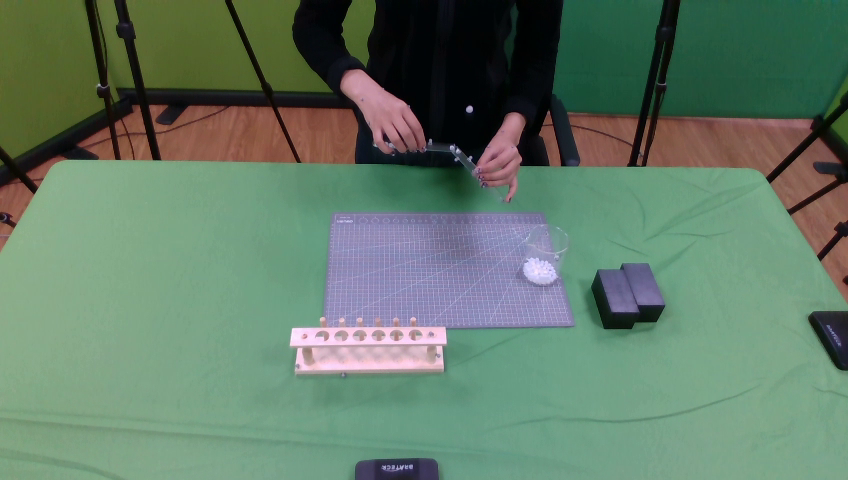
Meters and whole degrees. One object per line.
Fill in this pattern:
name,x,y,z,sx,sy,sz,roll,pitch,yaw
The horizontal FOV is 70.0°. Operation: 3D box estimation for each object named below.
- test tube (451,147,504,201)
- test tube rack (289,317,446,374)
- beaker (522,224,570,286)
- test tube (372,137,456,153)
test tube,0.101,-0.121,1.127,0.017,0.151,0.017,-32,35,25
test tube rack,-0.089,0.167,0.988,0.242,0.085,0.066,0,46,-4
beaker,0.221,0.032,1.129,0.084,0.101,0.073,-6,46,-9
test tube,-0.018,-0.170,1.080,0.150,0.017,0.017,4,46,-5
